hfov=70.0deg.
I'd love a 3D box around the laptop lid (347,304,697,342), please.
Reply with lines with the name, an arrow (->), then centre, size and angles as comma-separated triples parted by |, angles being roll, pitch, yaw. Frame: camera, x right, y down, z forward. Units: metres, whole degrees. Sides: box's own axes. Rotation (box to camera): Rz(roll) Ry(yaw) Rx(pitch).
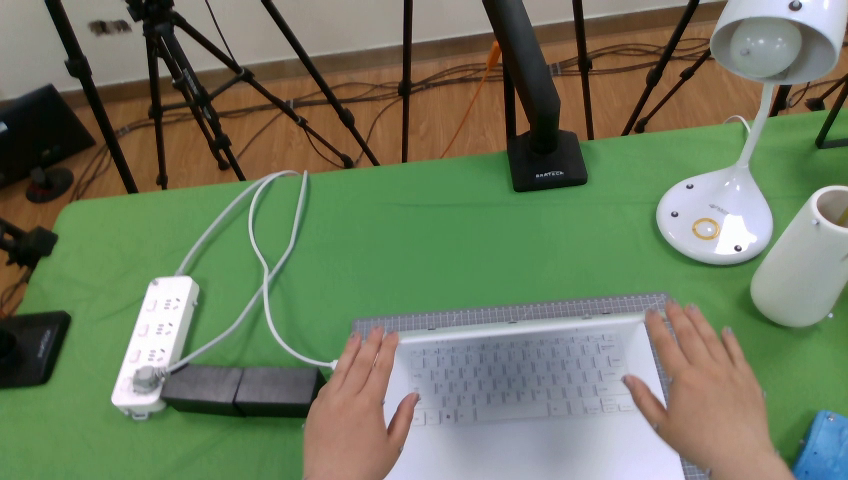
laptop lid -> 0.105, 0.096, 0.714 | 0.356, 0.242, 0.013 | -6, 83, 6

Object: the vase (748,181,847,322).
vase -> 0.470, 0.017, 0.740 | 0.098, 0.202, 0.097 | -5, 52, 7

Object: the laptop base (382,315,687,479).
laptop base -> 0.122, 0.210, 0.765 | 0.354, 0.023, 0.233 | -6, 56, 4

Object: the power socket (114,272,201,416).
power socket -> -0.384, 0.142, 0.883 | 0.072, 0.033, 0.224 | -3, 53, 5

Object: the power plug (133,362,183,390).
power plug -> -0.358, 0.188, 0.821 | 0.072, 0.053, 0.035 | 6, 55, 10

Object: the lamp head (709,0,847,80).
lamp head -> 0.346, -0.229, 0.577 | 0.112, 0.113, 0.122 | 20, 77, 22

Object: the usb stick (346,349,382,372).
usb stick -> -0.073, 0.162, 0.813 | 0.059, 0.027, 0.021 | -2, 52, 2

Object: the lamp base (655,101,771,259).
lamp base -> 0.422, -0.093, 0.840 | 0.159, 0.182, 0.178 | 23, 58, 23

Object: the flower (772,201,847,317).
flower -> 0.475, -0.040, 0.678 | 0.038, 0.364, 0.043 | -7, 42, -17

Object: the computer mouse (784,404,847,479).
computer mouse -> 0.458, 0.237, 0.680 | 0.062, 0.041, 0.117 | 31, 59, 30
